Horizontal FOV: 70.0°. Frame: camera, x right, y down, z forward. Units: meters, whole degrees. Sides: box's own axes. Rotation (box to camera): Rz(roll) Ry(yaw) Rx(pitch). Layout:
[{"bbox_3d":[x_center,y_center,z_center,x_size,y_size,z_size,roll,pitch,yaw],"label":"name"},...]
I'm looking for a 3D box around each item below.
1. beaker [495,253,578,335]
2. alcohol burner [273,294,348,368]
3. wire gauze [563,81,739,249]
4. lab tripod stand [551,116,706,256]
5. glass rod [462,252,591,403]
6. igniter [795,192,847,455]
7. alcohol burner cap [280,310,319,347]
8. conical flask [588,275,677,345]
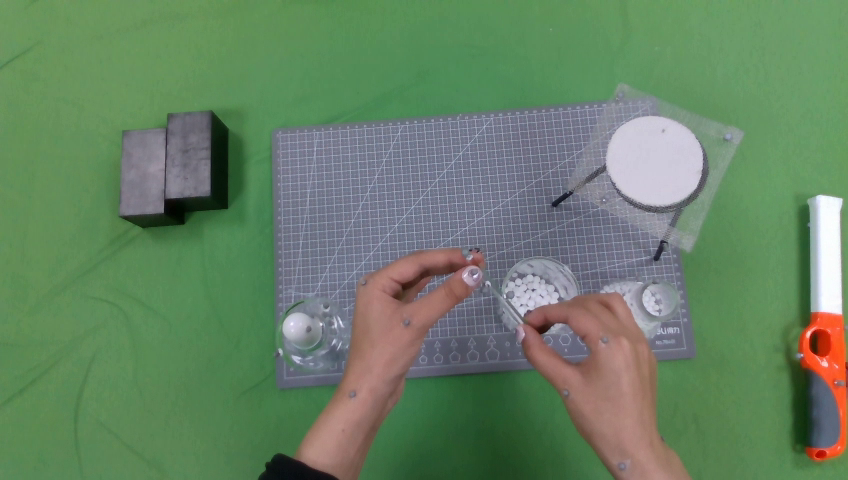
[{"bbox_3d":[0.111,0.061,0.615,0.074,0.100,0.083,-39,80,-5],"label":"beaker"},{"bbox_3d":[-0.118,0.091,0.611,0.078,0.119,0.077,-1,79,4],"label":"alcohol burner"},{"bbox_3d":[0.206,-0.072,0.552,0.125,0.011,0.121,27,83,8],"label":"wire gauze"},{"bbox_3d":[0.212,-0.057,0.617,0.148,0.132,0.148,-1,79,4],"label":"lab tripod stand"},{"bbox_3d":[0.088,0.077,0.488,0.008,0.008,0.201,-45,118,-7],"label":"glass rod"},{"bbox_3d":[0.418,0.084,0.636,0.057,0.025,0.275,9,79,-6],"label":"igniter"},{"bbox_3d":[-0.120,0.082,0.576,0.034,0.048,0.033,0,71,0],"label":"alcohol burner cap"},{"bbox_3d":[0.210,0.063,0.598,0.075,0.122,0.075,-1,78,3],"label":"conical flask"}]
